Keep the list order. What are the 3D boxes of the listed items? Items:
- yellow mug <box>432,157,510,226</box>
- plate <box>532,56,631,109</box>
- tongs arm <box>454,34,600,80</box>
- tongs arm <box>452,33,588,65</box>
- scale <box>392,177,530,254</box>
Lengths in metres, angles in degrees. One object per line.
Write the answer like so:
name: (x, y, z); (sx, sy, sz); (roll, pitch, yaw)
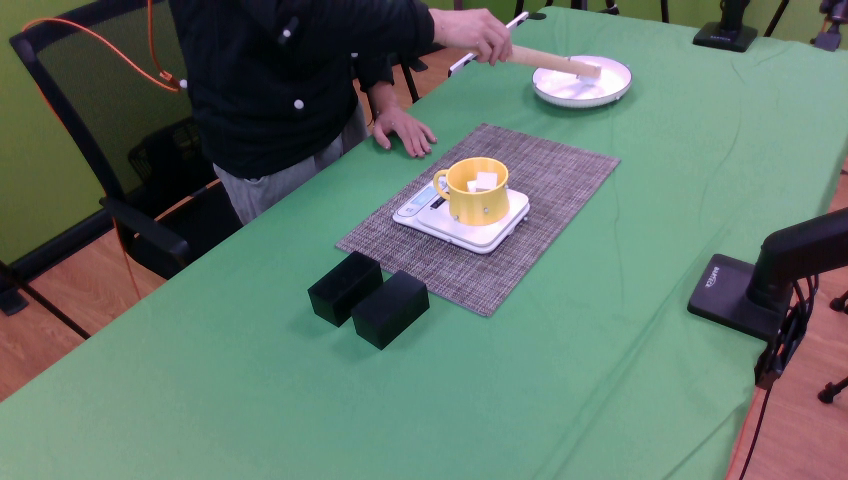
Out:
yellow mug: (0.072, -0.082, 0.968); (0.130, 0.064, 0.100); (13, 45, 24)
plate: (0.336, -0.335, 1.301); (0.207, 0.039, 0.206); (-4, 41, 4)
tongs arm: (0.212, -0.346, 1.158); (0.388, 0.026, 0.050); (-6, 32, -42)
tongs arm: (0.198, -0.357, 1.174); (0.391, 0.028, 0.028); (-3, 34, -39)
scale: (0.060, -0.050, 1.006); (0.199, 0.032, 0.149); (22, 48, 30)
